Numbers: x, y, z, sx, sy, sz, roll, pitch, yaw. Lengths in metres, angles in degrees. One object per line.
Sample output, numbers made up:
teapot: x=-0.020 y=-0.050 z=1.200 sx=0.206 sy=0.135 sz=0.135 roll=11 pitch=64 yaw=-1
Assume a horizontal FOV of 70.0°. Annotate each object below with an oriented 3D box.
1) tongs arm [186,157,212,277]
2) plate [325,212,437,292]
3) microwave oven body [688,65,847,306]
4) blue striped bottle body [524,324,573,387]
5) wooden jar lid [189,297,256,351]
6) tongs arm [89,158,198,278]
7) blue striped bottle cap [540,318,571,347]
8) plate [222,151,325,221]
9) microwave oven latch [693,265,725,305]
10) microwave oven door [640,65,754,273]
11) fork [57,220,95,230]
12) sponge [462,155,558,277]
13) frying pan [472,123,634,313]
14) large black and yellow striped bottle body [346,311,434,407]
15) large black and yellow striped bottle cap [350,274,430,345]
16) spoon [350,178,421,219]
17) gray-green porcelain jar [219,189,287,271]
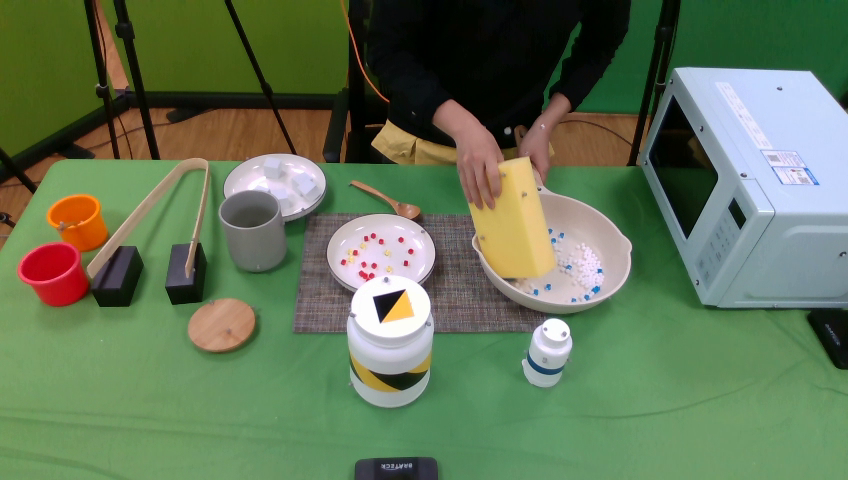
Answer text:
tongs arm: x=-0.445 y=-0.058 z=1.168 sx=0.051 sy=0.026 sz=0.382 roll=-5 pitch=37 yaw=-6
plate: x=-0.080 y=0.030 z=1.143 sx=0.209 sy=0.038 sz=0.208 roll=3 pitch=46 yaw=-3
microwave oven body: x=0.669 y=-0.111 z=1.176 sx=0.326 sy=0.261 sz=0.439 roll=0 pitch=46 yaw=-3
blue striped bottle body: x=0.200 y=0.178 z=0.970 sx=0.063 sy=0.121 sz=0.062 roll=2 pitch=46 yaw=-1
wooden jar lid: x=-0.342 y=0.145 z=1.033 sx=0.108 sy=0.021 sz=0.107 roll=2 pitch=45 yaw=-2
tongs arm: x=-0.529 y=-0.057 z=1.164 sx=0.028 sy=0.028 sz=0.385 roll=1 pitch=36 yaw=8
blue striped bottle cap: x=0.203 y=0.142 z=0.933 sx=0.044 sy=0.021 sz=0.044 roll=3 pitch=49 yaw=-3
plate: x=-0.310 y=-0.106 z=1.262 sx=0.208 sy=0.039 sz=0.206 roll=2 pitch=47 yaw=-2
microwave oven latch: x=0.523 y=0.082 z=1.116 sx=0.030 sy=0.029 sz=0.078 roll=2 pitch=46 yaw=-1
microwave oven door: x=0.523 y=-0.147 z=1.193 sx=0.039 sy=0.245 sz=0.353 roll=0 pitch=47 yaw=-3
fork: x=-0.624 y=-0.027 z=1.087 sx=0.028 sy=0.207 sz=0.018 roll=-3 pitch=92 yaw=-17
sponge: x=0.155 y=-0.039 z=1.091 sx=0.118 sy=0.207 sz=0.061 roll=-6 pitch=15 yaw=46
frying pan: x=0.235 y=-0.060 z=1.207 sx=0.307 sy=0.103 sz=0.484 roll=1 pitch=55 yaw=-6
large black and yellow striped bottle body: x=-0.052 y=0.157 z=0.929 sx=0.131 sy=0.185 sz=0.130 roll=2 pitch=47 yaw=-2
large black and yellow striped bottle cap: x=-0.048 y=0.097 z=0.867 sx=0.115 sy=0.019 sz=0.114 roll=3 pitch=48 yaw=-3
spoon: x=-0.084 y=-0.092 z=1.272 sx=0.193 sy=0.022 sz=0.041 roll=31 pitch=69 yaw=25
gray-green porcelain jar: x=-0.310 y=-0.014 z=1.113 sx=0.106 sy=0.127 sz=0.105 roll=2 pitch=46 yaw=-2
